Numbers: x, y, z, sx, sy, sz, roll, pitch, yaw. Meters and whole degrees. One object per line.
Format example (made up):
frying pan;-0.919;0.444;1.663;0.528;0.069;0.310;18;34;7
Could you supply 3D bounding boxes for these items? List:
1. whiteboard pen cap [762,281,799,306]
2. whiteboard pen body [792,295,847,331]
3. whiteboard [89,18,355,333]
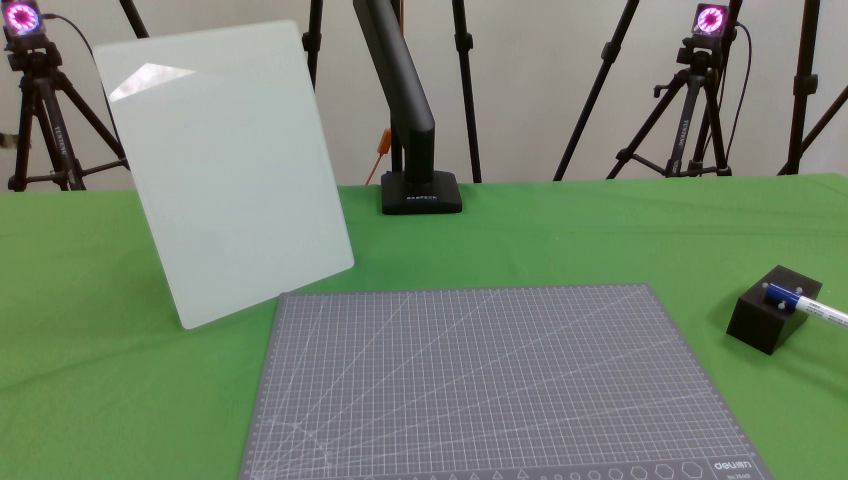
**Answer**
whiteboard pen cap;0.378;0.057;0.641;0.033;0.018;0.018;29;41;36
whiteboard pen body;0.420;0.080;0.608;0.139;0.017;0.017;28;41;37
whiteboard;-0.240;-0.084;0.725;0.218;0.307;0.142;-22;19;-31
